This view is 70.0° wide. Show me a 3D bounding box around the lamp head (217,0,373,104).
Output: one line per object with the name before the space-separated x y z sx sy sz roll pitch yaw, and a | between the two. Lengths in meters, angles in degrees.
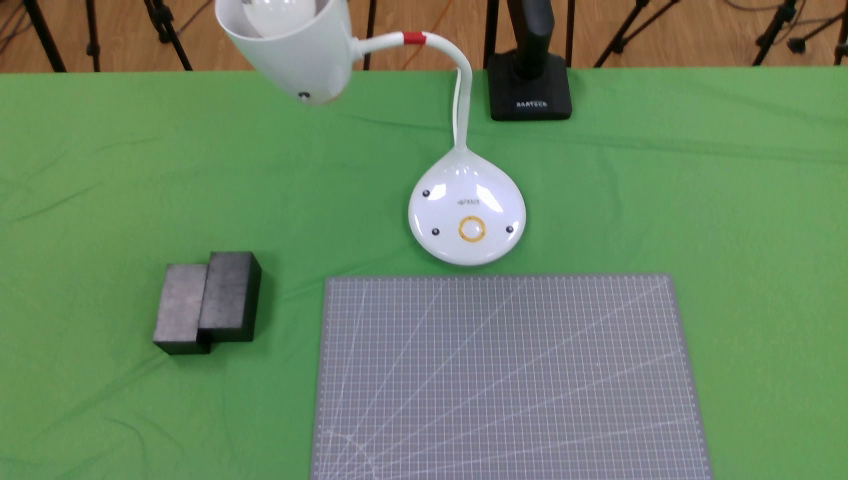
lamp head | -0.110 -0.189 0.565 0.112 0.124 0.111 -7 63 14

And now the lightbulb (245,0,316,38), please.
lightbulb | -0.120 -0.194 0.542 0.059 0.108 0.059 -3 68 8

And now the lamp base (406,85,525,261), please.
lamp base | 0.052 -0.090 0.758 0.161 0.181 0.177 -13 61 -6
